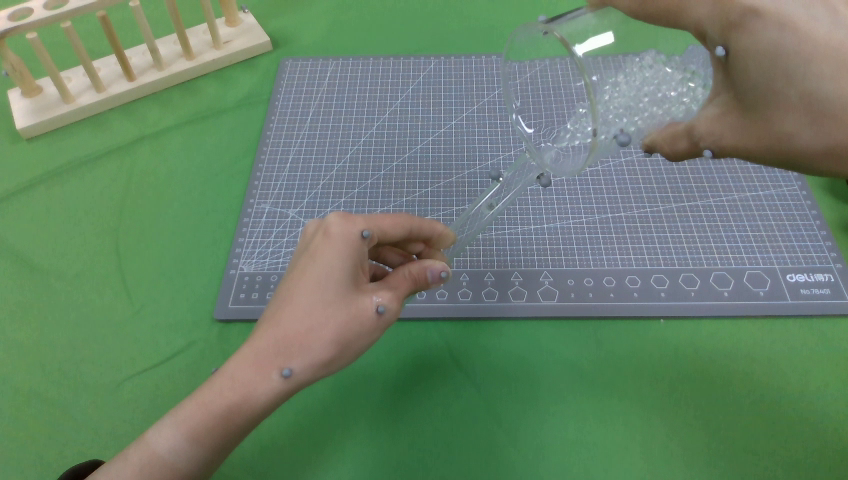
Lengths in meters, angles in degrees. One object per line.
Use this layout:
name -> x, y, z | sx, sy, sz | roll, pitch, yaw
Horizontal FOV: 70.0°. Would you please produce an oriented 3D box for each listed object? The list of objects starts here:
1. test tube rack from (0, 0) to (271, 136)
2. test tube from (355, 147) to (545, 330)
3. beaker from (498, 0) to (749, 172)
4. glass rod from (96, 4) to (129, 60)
test tube rack -> -0.277, -0.192, 0.565 | 0.242, 0.086, 0.066 | -26, 56, -16
test tube -> 0.010, 0.003, 0.347 | 0.150, 0.017, 0.017 | -45, 52, 22
beaker -> 0.098, -0.084, 0.300 | 0.100, 0.084, 0.073 | -24, 59, -16
glass rod -> -0.290, -0.232, 0.512 | 0.008, 0.201, 0.008 | 1, 55, -1
